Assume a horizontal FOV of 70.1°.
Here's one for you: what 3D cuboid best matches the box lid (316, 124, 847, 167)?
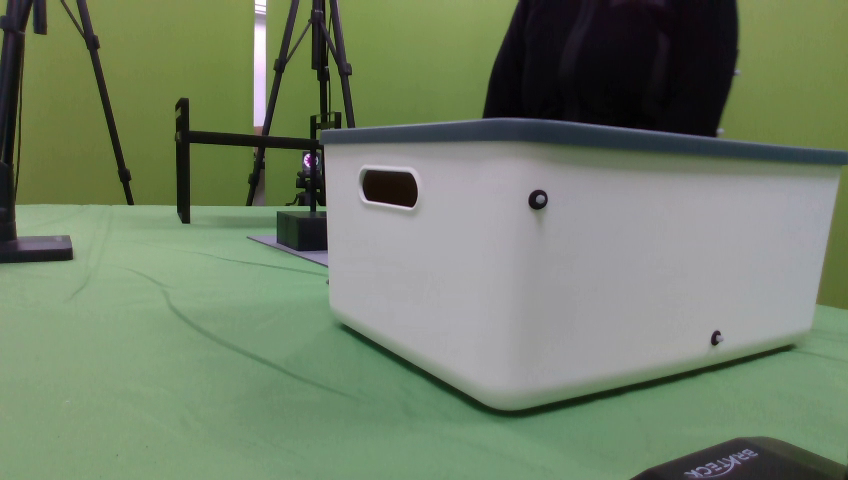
[{"bbox_3d":[0.127,-0.072,0.491,0.373,0.015,0.262,-2,9,-33],"label":"box lid"}]

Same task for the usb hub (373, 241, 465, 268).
[{"bbox_3d":[-0.005,0.018,0.826,0.126,0.025,0.049,-4,9,-39],"label":"usb hub"}]

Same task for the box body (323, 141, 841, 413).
[{"bbox_3d":[0.123,0.001,0.499,0.366,0.160,0.253,-2,8,-33],"label":"box body"}]
